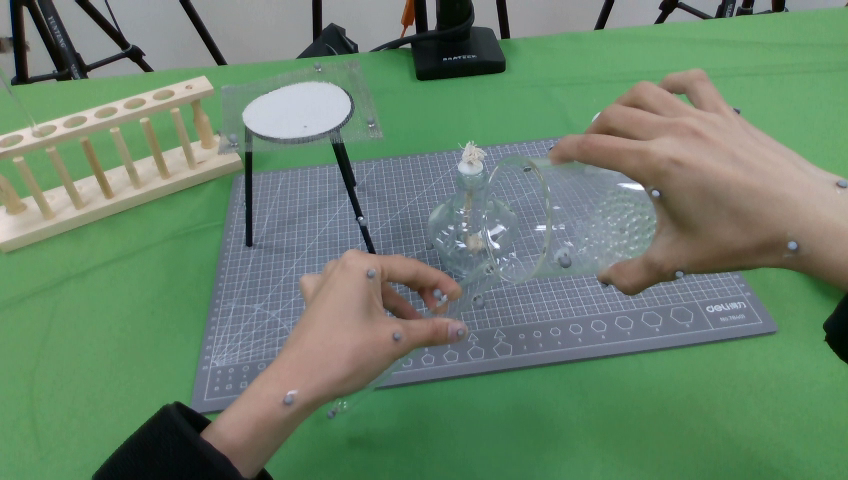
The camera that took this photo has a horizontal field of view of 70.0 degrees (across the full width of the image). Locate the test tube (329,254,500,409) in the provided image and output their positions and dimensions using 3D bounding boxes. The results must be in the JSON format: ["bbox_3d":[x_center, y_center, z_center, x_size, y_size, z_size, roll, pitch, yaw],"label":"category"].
[{"bbox_3d":[-0.010,0.062,0.394,0.150,0.017,0.017,-43,43,16],"label":"test tube"}]

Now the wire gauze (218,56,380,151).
[{"bbox_3d":[-0.106,-0.112,0.492,0.125,0.011,0.120,-12,43,-7],"label":"wire gauze"}]

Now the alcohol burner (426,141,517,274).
[{"bbox_3d":[0.039,-0.030,0.506,0.078,0.120,0.077,-3,41,3],"label":"alcohol burner"}]

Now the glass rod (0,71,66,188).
[{"bbox_3d":[-0.375,-0.120,0.562,0.008,0.201,0.008,-1,47,2],"label":"glass rod"}]

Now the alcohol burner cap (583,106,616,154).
[{"bbox_3d":[0.188,-0.120,0.644,0.034,0.048,0.033,-2,43,2],"label":"alcohol burner cap"}]

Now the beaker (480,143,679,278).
[{"bbox_3d":[0.093,-0.016,0.366,0.101,0.084,0.073,-3,47,-23],"label":"beaker"}]

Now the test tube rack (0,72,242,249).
[{"bbox_3d":[-0.323,-0.086,0.620,0.243,0.086,0.066,-24,46,-20],"label":"test tube rack"}]

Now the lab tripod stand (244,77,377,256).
[{"bbox_3d":[-0.102,-0.063,0.538,0.148,0.133,0.147,-3,45,3],"label":"lab tripod stand"}]
